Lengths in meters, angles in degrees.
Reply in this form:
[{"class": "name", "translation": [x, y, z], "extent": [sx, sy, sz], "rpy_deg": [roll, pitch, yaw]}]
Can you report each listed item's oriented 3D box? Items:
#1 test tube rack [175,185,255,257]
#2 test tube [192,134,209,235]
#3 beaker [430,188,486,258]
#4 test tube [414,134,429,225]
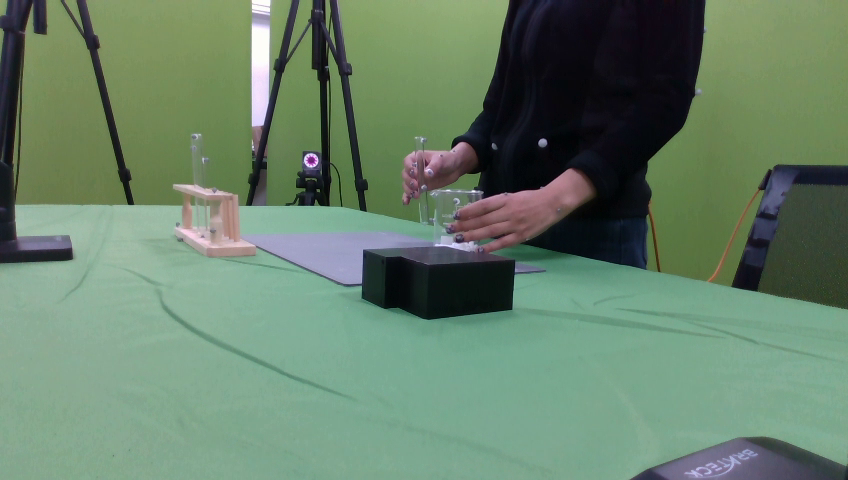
[{"class": "test tube rack", "translation": [-0.324, -0.035, 0.922], "extent": [0.067, 0.085, 0.241], "rpy_deg": [-2, 9, -31]}, {"class": "test tube", "translation": [-0.332, -0.082, 0.898], "extent": [0.017, 0.150, 0.017], "rpy_deg": [-2, 6, 0]}, {"class": "beaker", "translation": [0.048, -0.026, 0.895], "extent": [0.084, 0.100, 0.074], "rpy_deg": [4, 7, 16]}, {"class": "test tube", "translation": [-0.003, -0.099, 0.995], "extent": [0.017, 0.150, 0.017], "rpy_deg": [-4, 12, 1]}]
